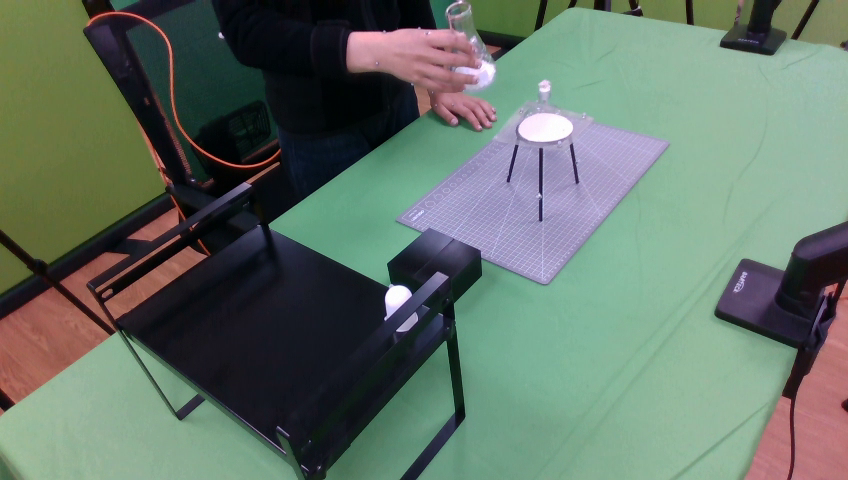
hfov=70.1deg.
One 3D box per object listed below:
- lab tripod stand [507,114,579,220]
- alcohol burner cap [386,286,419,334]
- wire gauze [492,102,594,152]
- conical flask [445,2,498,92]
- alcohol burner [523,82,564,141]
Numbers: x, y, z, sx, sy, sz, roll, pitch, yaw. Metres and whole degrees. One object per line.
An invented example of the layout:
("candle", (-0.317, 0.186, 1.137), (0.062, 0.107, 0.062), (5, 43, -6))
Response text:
("lab tripod stand", (0.199, -0.128, 1.005), (0.148, 0.132, 0.147), (-3, 42, 3))
("alcohol burner cap", (-0.023, 0.067, 0.604), (0.034, 0.048, 0.033), (-4, 39, 4))
("wire gauze", (0.191, -0.180, 0.964), (0.120, 0.011, 0.125), (19, 48, 28))
("conical flask", (0.063, -0.285, 0.888), (0.075, 0.123, 0.075), (-9, 51, 12))
("alcohol burner", (0.230, -0.251, 1.161), (0.078, 0.119, 0.077), (-4, 43, 4))
